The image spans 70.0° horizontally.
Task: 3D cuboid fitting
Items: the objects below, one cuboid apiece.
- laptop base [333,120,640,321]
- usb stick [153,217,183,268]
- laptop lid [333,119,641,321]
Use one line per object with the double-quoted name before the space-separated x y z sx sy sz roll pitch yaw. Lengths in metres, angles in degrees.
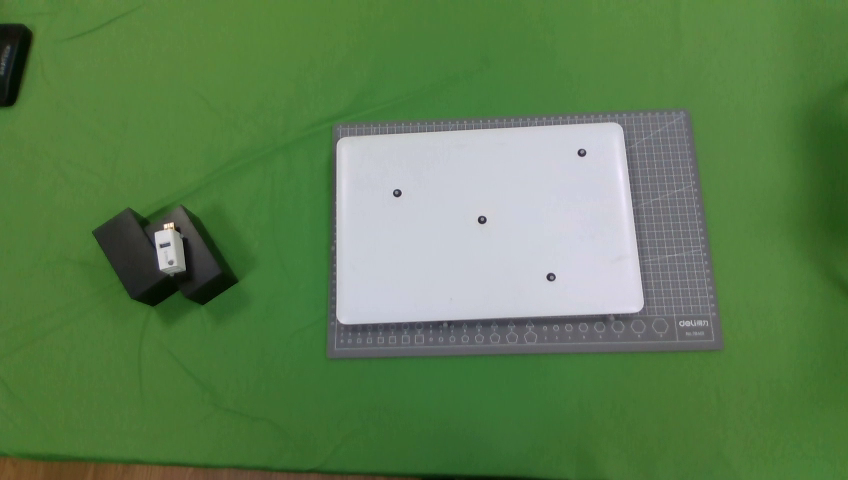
"laptop base" 0.067 -0.026 0.727 0.354 0.023 0.234 -3 78 2
"usb stick" -0.287 0.000 0.679 0.021 0.027 0.059 -13 72 0
"laptop lid" 0.067 -0.027 0.715 0.357 0.013 0.240 -1 77 2
